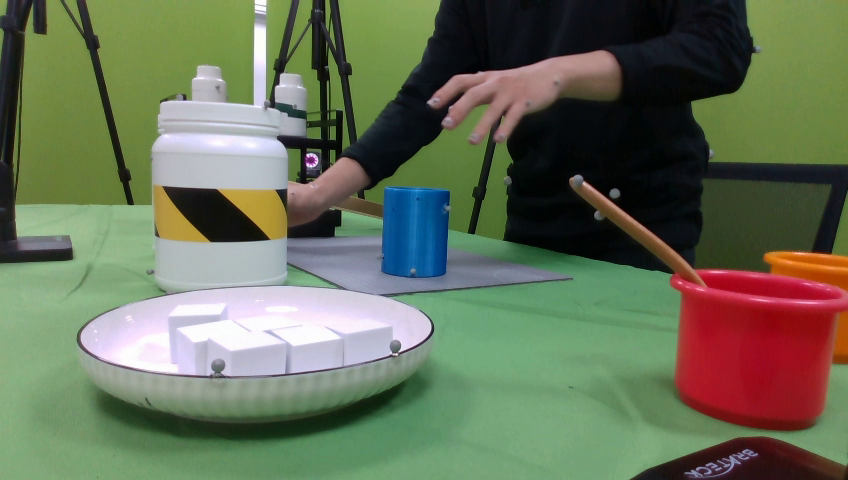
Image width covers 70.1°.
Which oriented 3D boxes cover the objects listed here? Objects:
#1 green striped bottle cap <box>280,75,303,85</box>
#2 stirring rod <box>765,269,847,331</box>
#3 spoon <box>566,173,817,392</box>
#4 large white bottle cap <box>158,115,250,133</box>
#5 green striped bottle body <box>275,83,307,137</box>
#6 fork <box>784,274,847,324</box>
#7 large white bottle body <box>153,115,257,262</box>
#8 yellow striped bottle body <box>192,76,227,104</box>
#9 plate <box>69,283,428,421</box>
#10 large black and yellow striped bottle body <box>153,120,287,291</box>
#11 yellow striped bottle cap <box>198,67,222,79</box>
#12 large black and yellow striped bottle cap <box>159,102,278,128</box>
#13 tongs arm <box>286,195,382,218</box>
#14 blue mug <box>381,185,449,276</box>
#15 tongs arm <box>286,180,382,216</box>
[{"bbox_3d":[-0.267,-0.320,1.216,0.044,0.020,0.044,1,8,0],"label":"green striped bottle cap"},{"bbox_3d":[0.352,0.020,0.484,0.176,0.006,0.014,-40,-6,13],"label":"stirring rod"},{"bbox_3d":[0.161,0.024,0.370,0.193,0.021,0.042,47,17,3],"label":"spoon"},{"bbox_3d":[-0.291,-0.153,0.803,0.115,0.018,0.115,1,7,0],"label":"large white bottle cap"},{"bbox_3d":[-0.269,-0.269,1.221,0.063,0.119,0.063,2,7,0],"label":"green striped bottle body"},{"bbox_3d":[0.332,0.018,0.444,0.028,0.018,0.207,-2,-35,-15],"label":"fork"},{"bbox_3d":[-0.293,-0.070,0.814,0.131,0.184,0.130,2,7,0],"label":"large white bottle body"},{"bbox_3d":[-0.414,-0.268,1.169,0.063,0.120,0.063,2,7,0],"label":"yellow striped bottle body"},{"bbox_3d":[-0.102,0.066,0.380,0.208,0.039,0.207,2,7,0],"label":"plate"},{"bbox_3d":[-0.208,-0.042,0.626,0.131,0.184,0.130,2,7,0],"label":"large black and yellow striped bottle body"},{"bbox_3d":[-0.412,-0.320,1.162,0.044,0.018,0.044,1,5,0],"label":"yellow striped bottle cap"},{"bbox_3d":[-0.207,-0.125,0.615,0.115,0.019,0.115,2,6,0],"label":"large black and yellow striped bottle cap"},{"bbox_3d":[-0.165,-0.074,1.216,0.389,0.027,0.028,11,-6,-24],"label":"tongs arm"},{"bbox_3d":[-0.018,-0.016,0.764,0.083,0.106,0.116,-1,7,-25],"label":"blue mug"},{"bbox_3d":[-0.122,-0.066,1.147,0.387,0.026,0.050,11,-2,-37],"label":"tongs arm"}]
